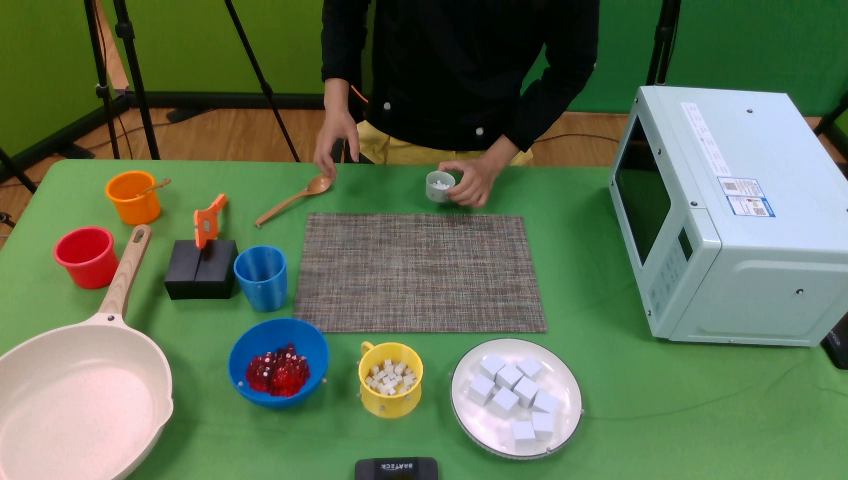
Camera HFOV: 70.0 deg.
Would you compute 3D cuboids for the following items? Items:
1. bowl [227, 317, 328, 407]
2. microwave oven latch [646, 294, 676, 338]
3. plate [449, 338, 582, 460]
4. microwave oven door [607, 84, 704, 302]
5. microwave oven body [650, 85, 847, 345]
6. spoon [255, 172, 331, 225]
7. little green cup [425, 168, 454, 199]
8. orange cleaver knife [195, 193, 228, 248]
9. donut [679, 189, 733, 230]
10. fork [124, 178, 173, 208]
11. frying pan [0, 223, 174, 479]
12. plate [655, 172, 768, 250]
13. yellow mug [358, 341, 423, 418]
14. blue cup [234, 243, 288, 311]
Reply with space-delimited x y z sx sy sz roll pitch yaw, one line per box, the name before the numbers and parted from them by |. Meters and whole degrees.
bowl | -0.222 0.203 0.947 0.151 0.077 0.150 2 46 -2
microwave oven latch | 0.412 0.133 1.060 0.030 0.029 0.078 3 46 0
plate | 0.141 0.251 0.955 0.208 0.039 0.206 2 46 -2
microwave oven door | 0.424 -0.096 1.138 0.039 0.245 0.353 3 46 -1
microwave oven body | 0.569 -0.054 1.116 0.326 0.261 0.439 2 46 -1
spoon | -0.272 -0.087 1.257 0.041 0.022 0.193 42 57 18
little green cup | 0.032 -0.115 1.245 0.061 0.039 0.061 -1 42 1
orange cleaver knife | -0.406 -0.041 1.163 0.012 0.077 0.210 0 18 -3
donut | 0.545 -0.061 1.176 0.099 0.048 0.098 0 45 0
fork | -0.525 -0.089 1.153 0.207 0.019 0.028 -17 27 45
frying pan | -0.504 0.169 0.941 0.307 0.103 0.485 5 54 -1
plate | 0.556 -0.053 1.186 0.209 0.038 0.208 2 45 -1
yellow mug | -0.063 0.210 0.961 0.100 0.064 0.130 -29 54 -28
blue cup | -0.276 0.072 1.052 0.093 0.101 0.092 1 48 -1
